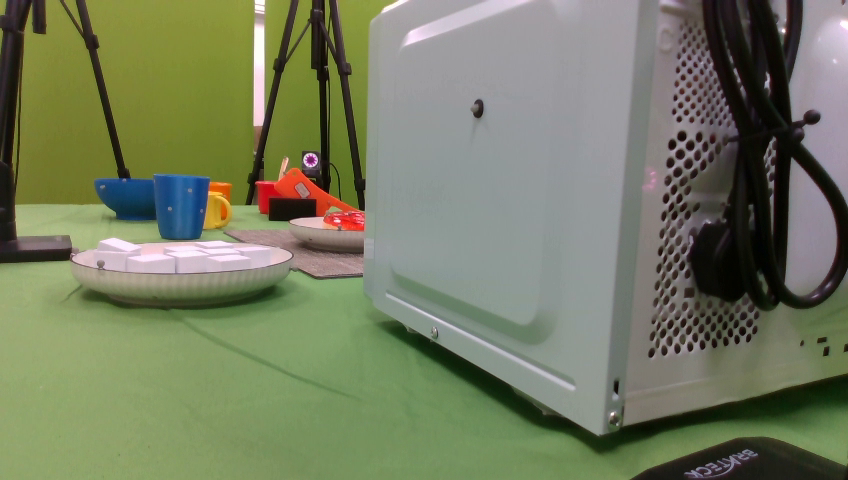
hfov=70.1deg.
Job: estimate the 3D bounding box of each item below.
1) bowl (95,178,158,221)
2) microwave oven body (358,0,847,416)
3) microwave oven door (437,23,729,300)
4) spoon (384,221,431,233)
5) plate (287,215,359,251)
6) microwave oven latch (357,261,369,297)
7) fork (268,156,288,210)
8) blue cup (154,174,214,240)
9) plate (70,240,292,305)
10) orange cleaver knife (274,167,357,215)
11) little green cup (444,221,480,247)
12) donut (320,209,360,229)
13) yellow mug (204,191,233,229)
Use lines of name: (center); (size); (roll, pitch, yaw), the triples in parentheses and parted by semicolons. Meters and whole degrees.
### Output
bowl: (-0.576, -0.081, 1.217); (0.151, 0.077, 0.151); (3, 8, 0)
microwave oven body: (0.211, -0.047, 0.474); (0.444, 0.260, 0.324); (-1, 7, -28)
microwave oven door: (0.181, -0.072, 0.621); (0.358, 0.243, 0.039); (-2, 9, -29)
spoon: (-0.024, -0.029, 1.187); (0.041, 0.021, 0.194); (-12, 0, 23)
plate: (-0.111, -0.012, 0.960); (0.209, 0.038, 0.209); (3, 8, 0)
microwave oven latch: (-0.019, 0.033, 0.531); (0.079, 0.029, 0.030); (-1, 7, -27)
fork: (-0.360, -0.144, 1.508); (0.028, 0.018, 0.207); (1, 49, 0)
blue cup: (-0.390, -0.053, 0.978); (0.093, 0.100, 0.092); (3, 6, 0)
plate: (-0.242, 0.031, 0.618); (0.208, 0.039, 0.207); (2, 8, 0)
orange cleaver knife: (-0.238, -0.090, 1.381); (0.212, 0.077, 0.012); (31, 0, -19)
little green cup: (0.065, -0.011, 1.035); (0.061, 0.038, 0.061); (1, 8, 0)
donut: (-0.115, -0.023, 0.961); (0.099, 0.048, 0.099); (5, 8, 0)
yellow mug: (-0.415, -0.057, 1.132); (0.130, 0.064, 0.100); (6, 8, 16)
